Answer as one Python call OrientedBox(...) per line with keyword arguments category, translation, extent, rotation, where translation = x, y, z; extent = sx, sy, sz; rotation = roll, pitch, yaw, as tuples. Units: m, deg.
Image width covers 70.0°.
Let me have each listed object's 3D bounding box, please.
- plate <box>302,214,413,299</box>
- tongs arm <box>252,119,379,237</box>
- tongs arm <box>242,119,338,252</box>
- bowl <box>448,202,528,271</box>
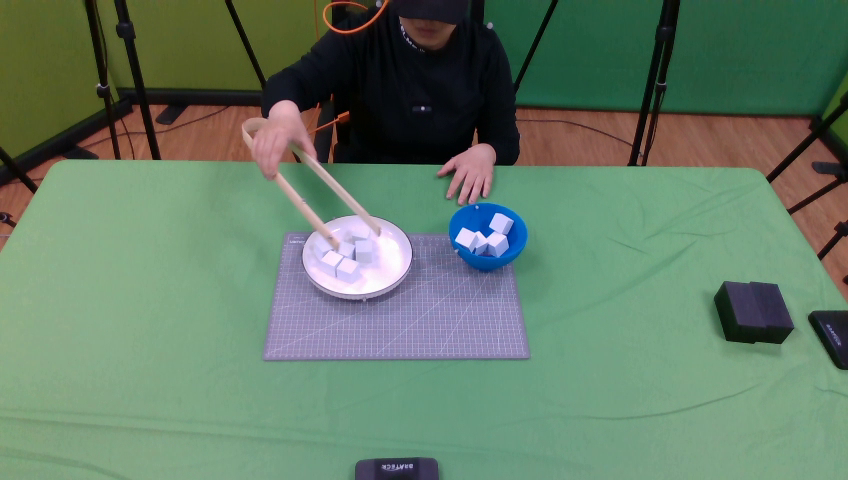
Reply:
OrientedBox(category="plate", translation=(-0.124, 0.033, 1.143), extent=(0.208, 0.039, 0.206), rotation=(2, 46, -2))
OrientedBox(category="tongs arm", translation=(-0.205, -0.123, 1.115), extent=(0.028, 0.028, 0.385), rotation=(-30, 56, -30))
OrientedBox(category="tongs arm", translation=(-0.242, -0.108, 1.091), extent=(0.051, 0.026, 0.382), rotation=(-25, 53, -31))
OrientedBox(category="bowl", translation=(0.118, 0.006, 1.160), extent=(0.151, 0.077, 0.150), rotation=(2, 46, -2))
